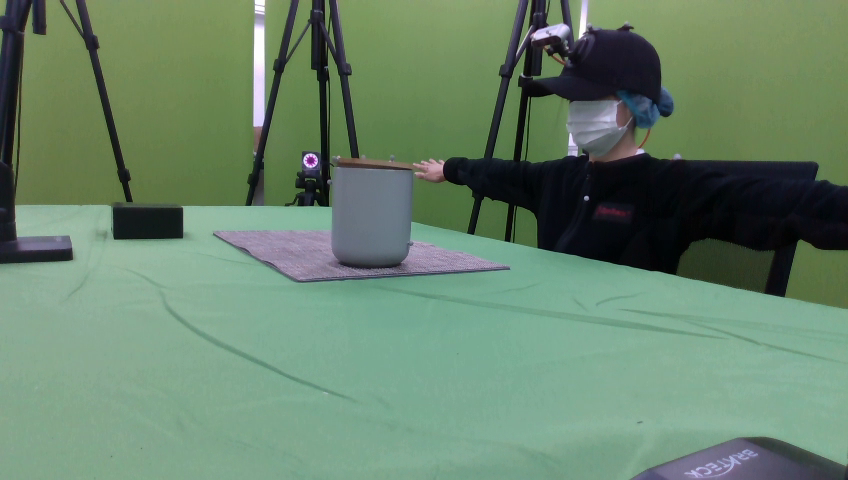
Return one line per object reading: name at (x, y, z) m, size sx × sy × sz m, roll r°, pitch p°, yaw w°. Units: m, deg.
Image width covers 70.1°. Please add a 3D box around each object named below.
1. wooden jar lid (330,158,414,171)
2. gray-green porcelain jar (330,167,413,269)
wooden jar lid at (-0.067, -0.092, 0.783) m, size 0.108 × 0.020 × 0.108 m, roll 5°, pitch 6°, yaw 0°
gray-green porcelain jar at (-0.069, -0.030, 0.791) m, size 0.106 × 0.126 × 0.106 m, roll 3°, pitch 7°, yaw 0°
